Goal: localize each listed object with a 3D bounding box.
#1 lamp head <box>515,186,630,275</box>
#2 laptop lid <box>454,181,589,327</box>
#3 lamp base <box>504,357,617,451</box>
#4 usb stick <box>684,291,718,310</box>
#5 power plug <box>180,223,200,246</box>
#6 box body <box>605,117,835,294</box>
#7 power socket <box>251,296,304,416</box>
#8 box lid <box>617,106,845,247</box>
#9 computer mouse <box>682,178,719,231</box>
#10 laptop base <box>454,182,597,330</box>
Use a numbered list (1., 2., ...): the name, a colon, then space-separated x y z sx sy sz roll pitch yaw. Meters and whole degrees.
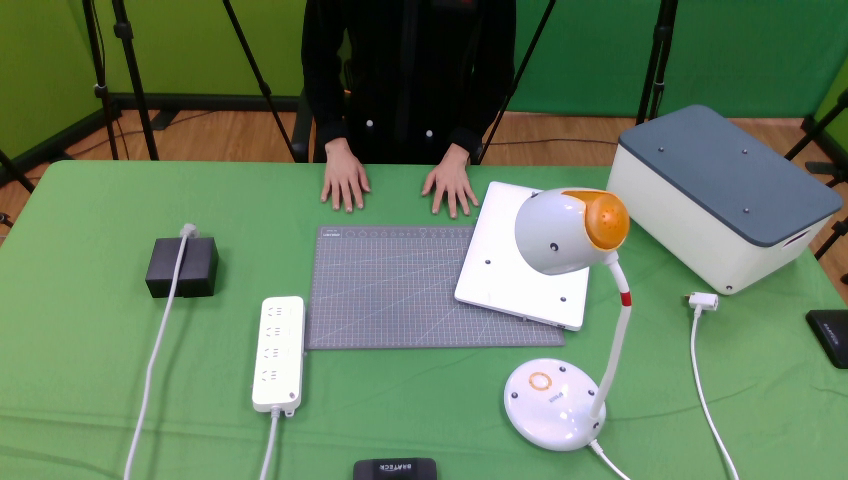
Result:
1. lamp head: 0.188 -0.013 0.728 0.112 0.112 0.122 -25 9 -25
2. laptop lid: 0.210 0.010 1.193 0.241 0.013 0.355 13 46 11
3. lamp base: 0.220 0.211 0.903 0.160 0.181 0.178 -33 59 -30
4. usb stick: 0.509 0.111 1.121 0.059 0.021 0.027 6 54 46
5. power plug: -0.450 -0.004 1.137 0.035 0.053 0.072 24 32 1
6. box body: 0.582 -0.088 1.230 0.254 0.161 0.361 -22 52 -23
7. power socket: -0.238 0.181 0.997 0.072 0.033 0.225 -3 47 -5
8. box lid: 0.586 -0.138 1.176 0.263 0.015 0.369 -22 51 -23
9. computer mouse: 0.596 -0.078 1.289 0.117 0.041 0.062 56 44 -8
10. laptop base: 0.211 0.018 1.202 0.235 0.023 0.352 11 46 10
